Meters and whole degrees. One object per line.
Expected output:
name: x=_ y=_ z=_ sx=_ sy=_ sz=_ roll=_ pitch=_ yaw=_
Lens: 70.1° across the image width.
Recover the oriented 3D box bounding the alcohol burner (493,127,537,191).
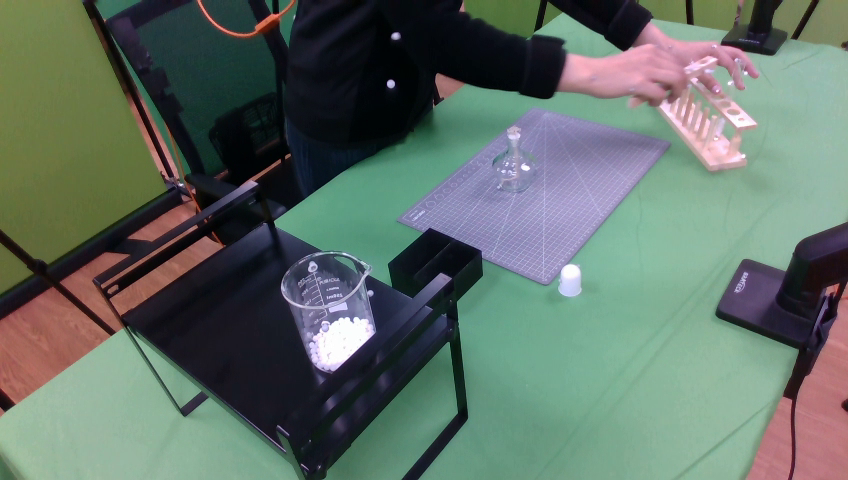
alcohol burner: x=0.157 y=-0.146 z=1.046 sx=0.078 sy=0.119 sz=0.077 roll=-4 pitch=43 yaw=4

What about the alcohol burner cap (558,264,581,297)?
alcohol burner cap: x=0.210 y=0.055 z=0.866 sx=0.034 sy=0.048 sz=0.033 roll=-3 pitch=42 yaw=3

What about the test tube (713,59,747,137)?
test tube: x=0.531 y=-0.243 z=1.052 sx=0.017 sy=0.151 sz=0.017 roll=-2 pitch=44 yaw=2

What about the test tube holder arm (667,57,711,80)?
test tube holder arm: x=0.390 y=-0.248 z=0.889 sx=0.088 sy=0.015 sz=0.010 roll=-28 pitch=40 yaw=-22

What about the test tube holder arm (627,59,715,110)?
test tube holder arm: x=0.356 y=-0.226 z=0.868 sx=0.179 sy=0.015 sz=0.013 roll=-29 pitch=41 yaw=-23

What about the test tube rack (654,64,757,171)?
test tube rack: x=0.512 y=-0.233 z=1.120 sx=0.067 sy=0.085 sz=0.241 roll=-8 pitch=41 yaw=-1

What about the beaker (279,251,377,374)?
beaker: x=-0.083 y=0.070 z=0.569 sx=0.084 sy=0.101 sz=0.073 roll=-18 pitch=42 yaw=-13
